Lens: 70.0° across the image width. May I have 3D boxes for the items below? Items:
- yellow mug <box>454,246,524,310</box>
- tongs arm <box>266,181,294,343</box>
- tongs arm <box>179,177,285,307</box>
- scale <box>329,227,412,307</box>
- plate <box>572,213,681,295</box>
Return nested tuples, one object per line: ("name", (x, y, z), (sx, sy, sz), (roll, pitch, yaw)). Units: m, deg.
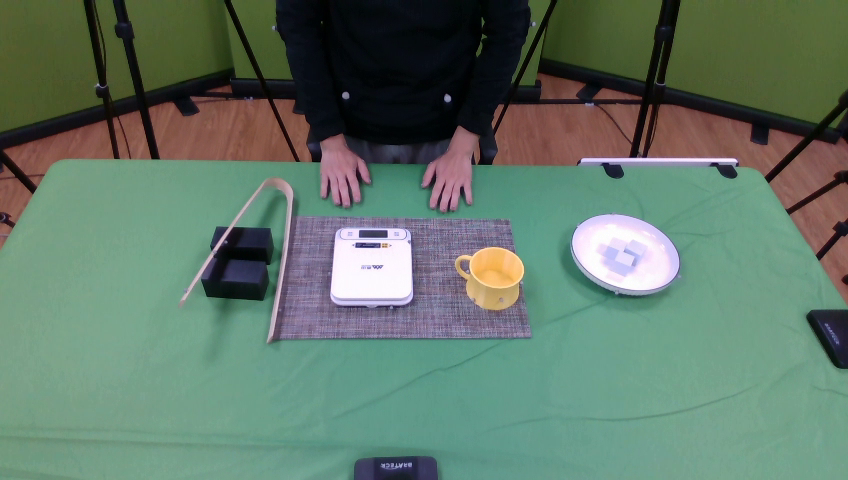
("yellow mug", (0.115, 0.064, 1.111), (0.130, 0.064, 0.099), (21, 49, 17))
("tongs arm", (-0.273, 0.027, 1.144), (0.028, 0.028, 0.385), (17, 42, -22))
("tongs arm", (-0.342, -0.008, 1.118), (0.051, 0.026, 0.382), (29, 38, -14))
("scale", (-0.099, 0.042, 1.139), (0.149, 0.032, 0.199), (1, 46, -4))
("plate", (0.392, 0.030, 1.189), (0.208, 0.039, 0.206), (2, 46, -2))
